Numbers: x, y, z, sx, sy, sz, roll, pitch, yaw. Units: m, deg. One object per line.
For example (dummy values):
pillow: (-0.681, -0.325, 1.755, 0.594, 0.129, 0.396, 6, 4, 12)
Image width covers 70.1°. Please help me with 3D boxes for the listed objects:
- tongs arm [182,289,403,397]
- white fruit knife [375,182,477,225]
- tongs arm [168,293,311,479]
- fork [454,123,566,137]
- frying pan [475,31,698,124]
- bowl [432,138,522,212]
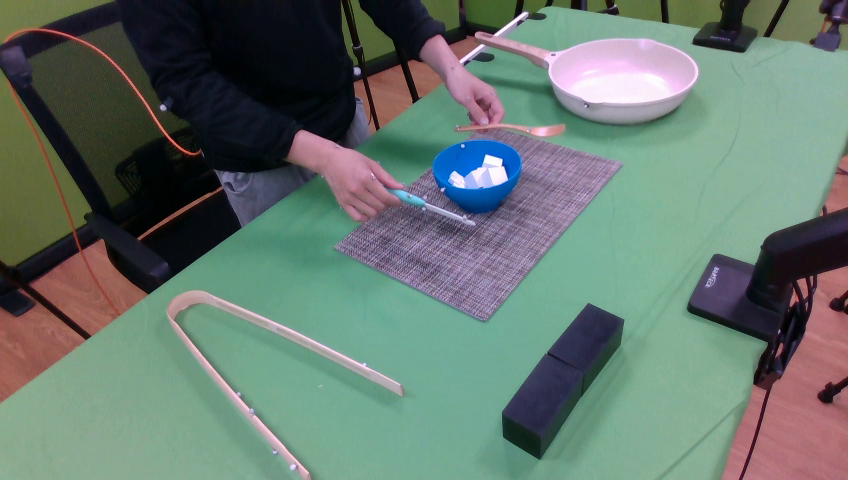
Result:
tongs arm: (-0.192, 0.135, 0.834, 0.385, 0.028, 0.028, 18, 49, 26)
white fruit knife: (-0.002, -0.056, 0.932, 0.205, 0.027, 0.016, 22, 77, 34)
tongs arm: (-0.245, 0.176, 0.787, 0.381, 0.026, 0.051, 29, 51, 36)
fork: (0.150, -0.201, 1.083, 0.206, 0.019, 0.028, 7, 67, 20)
frying pan: (0.320, -0.371, 1.290, 0.485, 0.103, 0.307, 28, 50, 23)
bowl: (0.091, -0.100, 1.021, 0.151, 0.077, 0.150, -4, 41, 4)
